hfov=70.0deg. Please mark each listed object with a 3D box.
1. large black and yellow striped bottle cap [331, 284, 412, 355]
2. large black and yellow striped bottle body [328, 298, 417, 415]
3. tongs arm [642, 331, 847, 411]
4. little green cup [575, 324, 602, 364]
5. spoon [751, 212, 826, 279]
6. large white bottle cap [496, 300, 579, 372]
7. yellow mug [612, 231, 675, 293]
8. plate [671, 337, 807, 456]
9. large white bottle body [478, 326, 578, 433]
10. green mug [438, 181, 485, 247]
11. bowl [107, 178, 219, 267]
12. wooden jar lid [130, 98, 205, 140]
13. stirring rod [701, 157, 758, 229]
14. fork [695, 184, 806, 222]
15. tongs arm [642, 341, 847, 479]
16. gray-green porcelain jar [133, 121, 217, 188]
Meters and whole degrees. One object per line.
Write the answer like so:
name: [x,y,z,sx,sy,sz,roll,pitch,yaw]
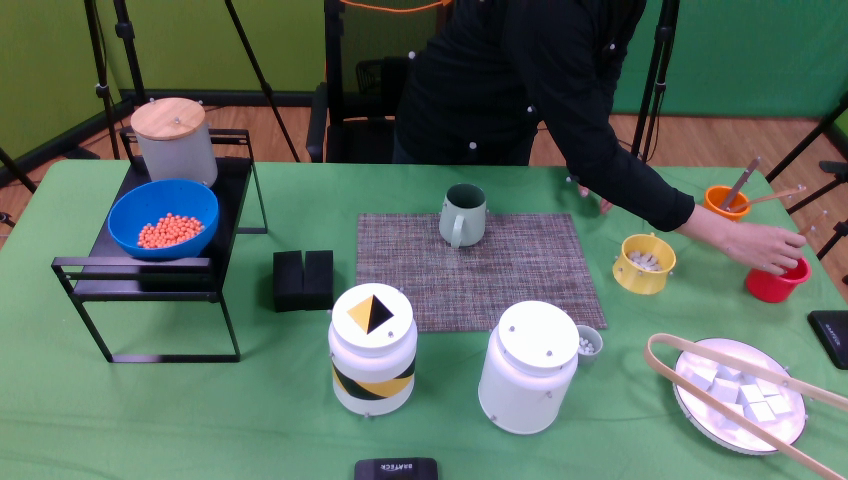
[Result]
large black and yellow striped bottle cap: [-0.073,0.111,0.858,0.115,0.019,0.114,2,46,-2]
large black and yellow striped bottle body: [-0.078,0.167,0.920,0.131,0.185,0.130,2,46,-2]
tongs arm: [0.546,0.227,0.968,0.384,0.026,0.050,22,52,13]
little green cup: [0.269,0.179,1.036,0.061,0.039,0.061,3,46,-2]
spoon: [0.654,0.014,1.092,0.041,0.194,0.021,-21,56,-27]
large white bottle cap: [0.160,0.133,0.852,0.115,0.018,0.114,3,46,-2]
yellow mug: [0.424,0.033,1.168,0.100,0.064,0.130,18,47,13]
plate: [0.504,0.254,0.984,0.208,0.039,0.206,2,46,-2]
large white bottle body: [0.156,0.192,0.913,0.131,0.185,0.130,2,46,-2]
green mug: [0.071,-0.039,1.177,0.092,0.105,0.124,12,47,7]
bowl: [-0.374,-0.014,0.893,0.151,0.077,0.150,2,46,-2]
wooden jar lid: [-0.393,-0.183,0.934,0.108,0.021,0.107,3,43,-2]
stirring rod: [0.634,-0.097,1.257,0.014,0.006,0.176,38,97,29]
fork: [0.658,-0.074,1.229,0.207,0.019,0.028,-23,35,37]
tongs arm: [0.504,0.278,0.918,0.386,0.028,0.028,34,59,22]
gray-green porcelain jar: [-0.397,-0.141,0.980,0.106,0.127,0.105,2,47,-2]
